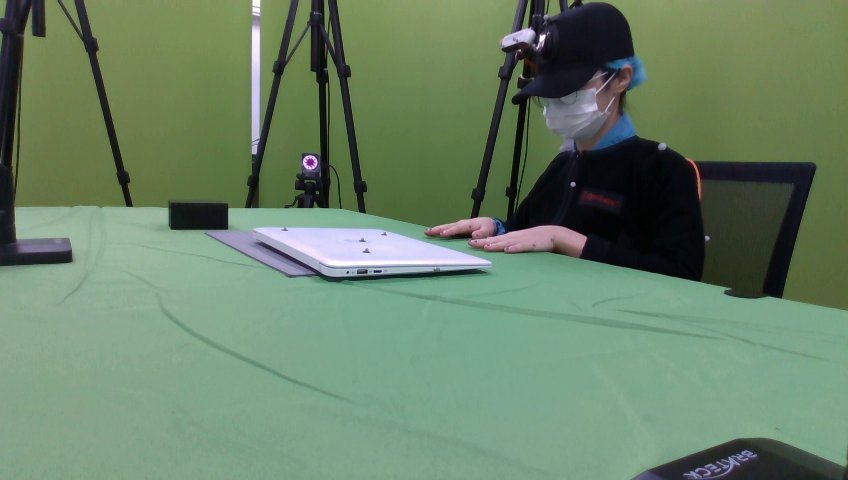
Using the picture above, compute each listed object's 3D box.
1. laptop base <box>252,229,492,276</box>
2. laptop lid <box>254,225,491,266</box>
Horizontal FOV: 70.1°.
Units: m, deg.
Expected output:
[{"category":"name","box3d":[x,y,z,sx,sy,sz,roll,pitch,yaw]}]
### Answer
[{"category":"laptop base","box3d":[-0.095,0.016,0.889,0.237,0.023,0.352,2,7,-31]},{"category":"laptop lid","box3d":[-0.092,0.003,0.888,0.243,0.013,0.355,1,8,-29]}]
